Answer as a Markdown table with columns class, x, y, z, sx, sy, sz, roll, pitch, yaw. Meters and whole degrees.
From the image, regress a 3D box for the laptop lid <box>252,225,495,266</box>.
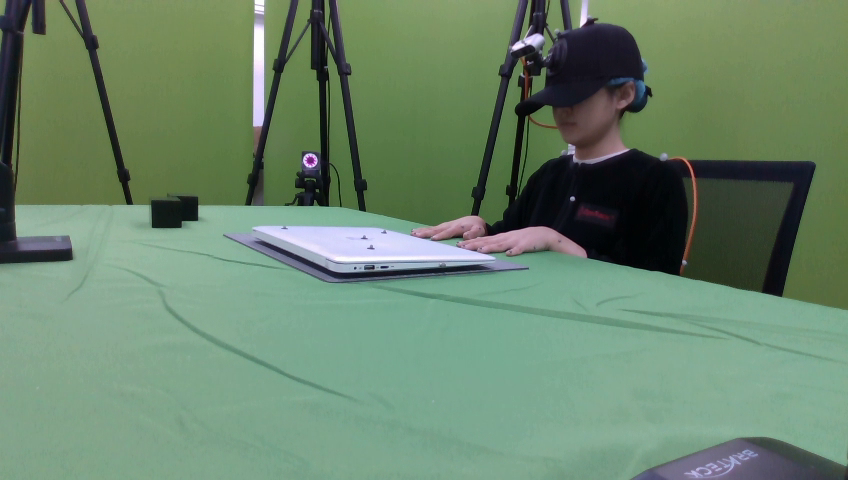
| class | x | y | z | sx | sy | sz | roll | pitch | yaw |
| --- | --- | --- | --- | --- | --- | --- | --- | --- | --- |
| laptop lid | -0.090 | 0.004 | 0.883 | 0.243 | 0.013 | 0.355 | 1 | 7 | -31 |

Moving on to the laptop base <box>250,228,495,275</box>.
| class | x | y | z | sx | sy | sz | roll | pitch | yaw |
| --- | --- | --- | --- | --- | --- | --- | --- | --- | --- |
| laptop base | -0.093 | 0.015 | 0.884 | 0.237 | 0.023 | 0.352 | 3 | 6 | -32 |
